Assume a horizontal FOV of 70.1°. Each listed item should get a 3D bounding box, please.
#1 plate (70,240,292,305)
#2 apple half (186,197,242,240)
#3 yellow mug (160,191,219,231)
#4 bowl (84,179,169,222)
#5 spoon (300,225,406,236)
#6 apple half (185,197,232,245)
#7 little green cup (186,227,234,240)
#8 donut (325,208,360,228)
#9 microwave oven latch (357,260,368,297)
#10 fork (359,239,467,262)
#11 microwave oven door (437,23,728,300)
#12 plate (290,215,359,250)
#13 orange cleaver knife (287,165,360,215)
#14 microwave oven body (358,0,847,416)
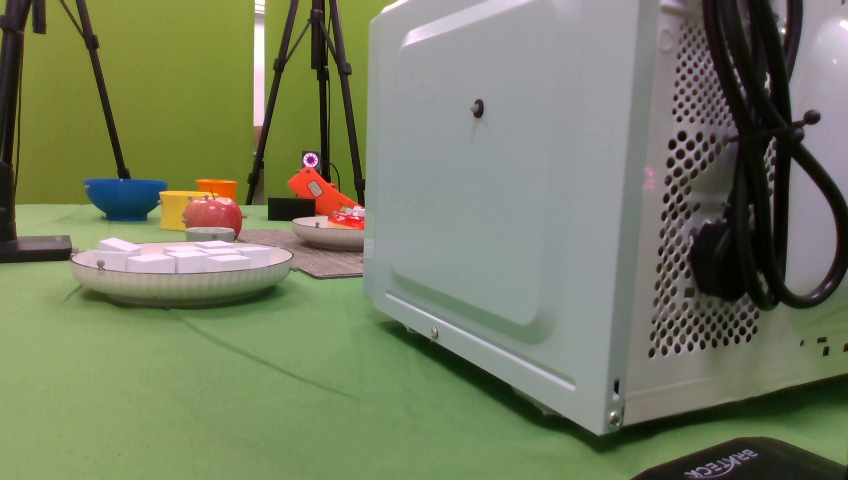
[{"bbox_3d":[-0.242,0.031,0.618,0.208,0.039,0.207,2,8,0],"label":"plate"},{"bbox_3d":[-0.307,-0.026,0.905,0.053,0.074,0.081,14,10,37],"label":"apple half"},{"bbox_3d":[-0.416,-0.053,1.103,0.130,0.064,0.100,7,8,27],"label":"yellow mug"},{"bbox_3d":[-0.584,-0.078,1.194,0.151,0.077,0.151,3,8,0],"label":"bowl"},{"bbox_3d":[-0.127,-0.018,1.104,0.194,0.021,0.041,0,8,-16],"label":"spoon"},{"bbox_3d":[-0.337,-0.031,0.928,0.032,0.081,0.082,13,13,37],"label":"apple half"},{"bbox_3d":[-0.284,0.005,0.805,0.061,0.038,0.061,2,8,0],"label":"little green cup"},{"bbox_3d":[-0.110,-0.025,0.974,0.099,0.048,0.099,5,8,0],"label":"donut"},{"bbox_3d":[-0.019,0.033,0.531,0.079,0.029,0.030,-1,7,-27],"label":"microwave oven latch"},{"bbox_3d":[-0.009,0.014,0.872,0.208,0.018,0.028,-5,0,-44],"label":"fork"},{"bbox_3d":[0.180,-0.072,0.621,0.358,0.243,0.039,-2,9,-29],"label":"microwave oven door"},{"bbox_3d":[-0.110,-0.014,0.974,0.209,0.038,0.209,3,8,0],"label":"plate"},{"bbox_3d":[-0.211,-0.092,1.382,0.212,0.077,0.012,33,1,-15],"label":"orange cleaver knife"},{"bbox_3d":[0.211,-0.047,0.474,0.444,0.260,0.324,-1,8,-28],"label":"microwave oven body"}]
